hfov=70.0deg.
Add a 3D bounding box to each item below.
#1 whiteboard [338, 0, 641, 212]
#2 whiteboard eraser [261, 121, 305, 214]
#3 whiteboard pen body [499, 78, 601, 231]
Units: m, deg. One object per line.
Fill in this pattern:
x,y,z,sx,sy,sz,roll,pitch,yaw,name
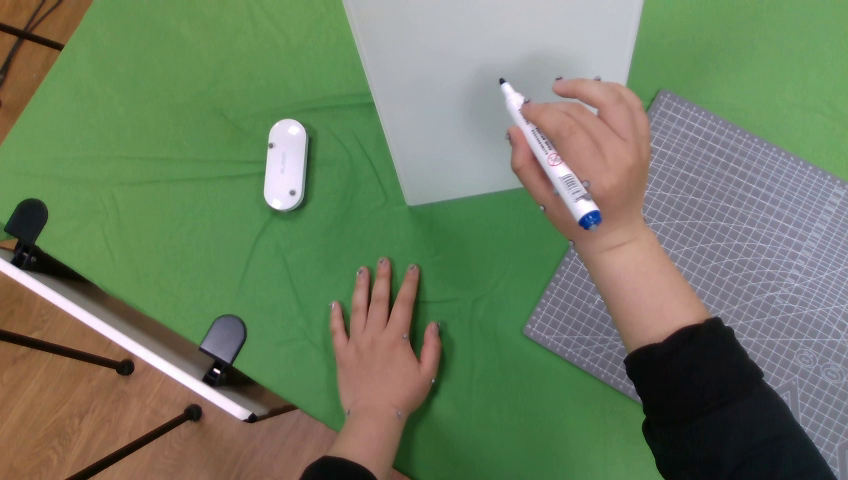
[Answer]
0.057,-0.182,0.546,0.217,0.308,0.142,-9,60,4,whiteboard
-0.153,-0.079,0.658,0.041,0.019,0.101,3,82,4,whiteboard eraser
0.081,-0.064,0.415,0.017,0.017,0.139,-25,61,1,whiteboard pen body
